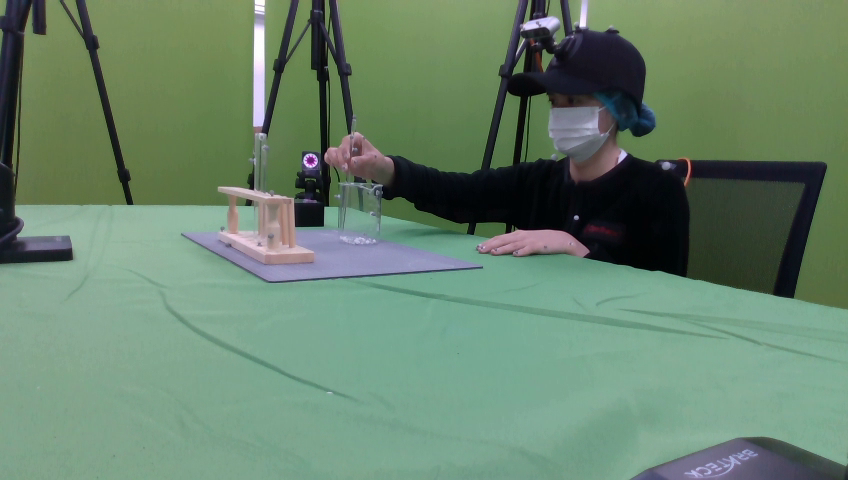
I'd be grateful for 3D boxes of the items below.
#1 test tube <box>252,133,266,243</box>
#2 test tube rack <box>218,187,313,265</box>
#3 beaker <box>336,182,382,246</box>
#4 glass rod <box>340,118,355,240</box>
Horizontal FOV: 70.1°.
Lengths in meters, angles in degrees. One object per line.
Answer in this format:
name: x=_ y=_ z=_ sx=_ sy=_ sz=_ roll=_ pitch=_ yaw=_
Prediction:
test tube: x=-0.225 y=-0.070 z=0.826 sx=0.017 sy=0.150 sz=0.017 roll=2 pitch=2 yaw=0
test tube rack: x=-0.235 y=-0.027 z=0.872 sx=0.067 sy=0.085 sz=0.241 roll=-2 pitch=8 yaw=-32
beaker: x=-0.107 y=-0.043 z=0.996 sx=0.074 sy=0.100 sz=0.083 roll=-2 pitch=10 yaw=-29
glass rod: x=-0.125 y=-0.099 z=0.991 sx=0.008 sy=0.199 sz=0.008 roll=6 pitch=5 yaw=0
